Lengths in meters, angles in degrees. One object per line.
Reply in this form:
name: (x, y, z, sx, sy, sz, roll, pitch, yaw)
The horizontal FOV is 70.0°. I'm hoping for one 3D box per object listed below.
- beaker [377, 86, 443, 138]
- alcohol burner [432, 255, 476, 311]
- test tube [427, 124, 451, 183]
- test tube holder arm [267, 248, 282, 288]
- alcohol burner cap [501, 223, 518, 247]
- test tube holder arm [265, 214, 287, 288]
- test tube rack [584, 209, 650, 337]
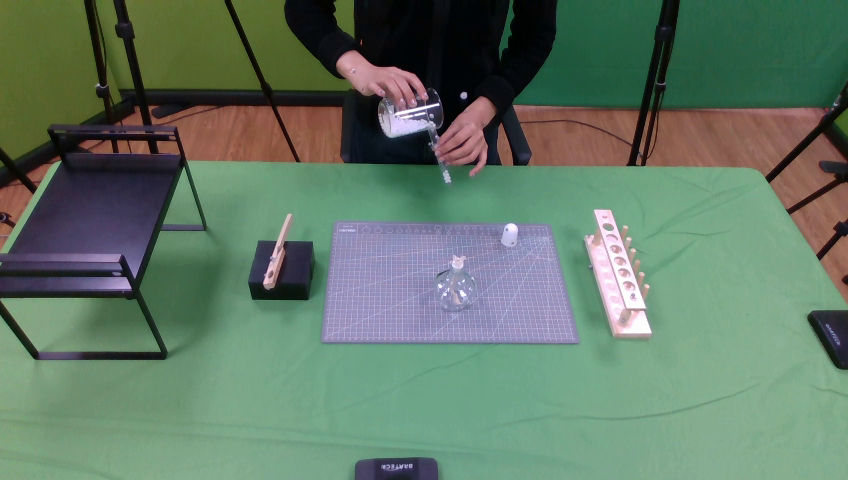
beaker: (-0.027, -0.225, 1.085, 0.100, 0.084, 0.073, -17, 50, -19)
alcohol burner: (0.055, 0.070, 1.068, 0.078, 0.119, 0.077, 3, 45, -3)
test tube: (0.030, -0.165, 1.183, 0.017, 0.151, 0.017, -9, 49, 11)
test tube holder arm: (-0.262, 0.048, 1.068, 0.010, 0.015, 0.087, 4, 45, -3)
alcohol burner cap: (0.172, -0.013, 1.206, 0.034, 0.048, 0.033, 2, 45, -1)
test tube holder arm: (-0.268, 0.016, 1.099, 0.013, 0.015, 0.177, 3, 45, -5)
test tube rack: (0.365, 0.056, 1.129, 0.067, 0.085, 0.240, 1, 46, -4)
